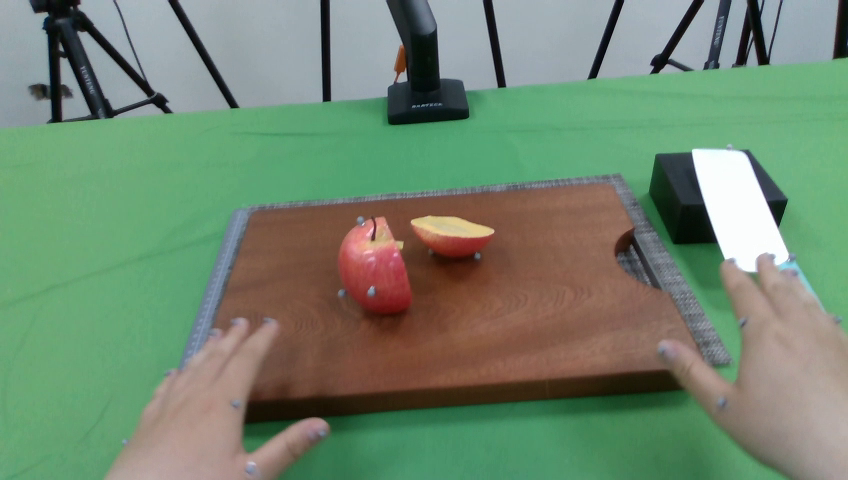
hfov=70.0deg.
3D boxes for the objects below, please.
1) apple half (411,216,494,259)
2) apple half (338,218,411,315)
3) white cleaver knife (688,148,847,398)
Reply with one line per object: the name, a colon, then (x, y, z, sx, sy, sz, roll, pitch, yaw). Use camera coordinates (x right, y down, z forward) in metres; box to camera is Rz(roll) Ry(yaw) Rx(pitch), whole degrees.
apple half: (0.023, 0.002, 0.575, 0.081, 0.033, 0.081, 7, 16, -2)
apple half: (-0.046, 0.027, 0.523, 0.053, 0.075, 0.080, -17, 43, -9)
white cleaver knife: (0.302, 0.013, 0.552, 0.066, 0.022, 0.283, -5, 48, 8)
